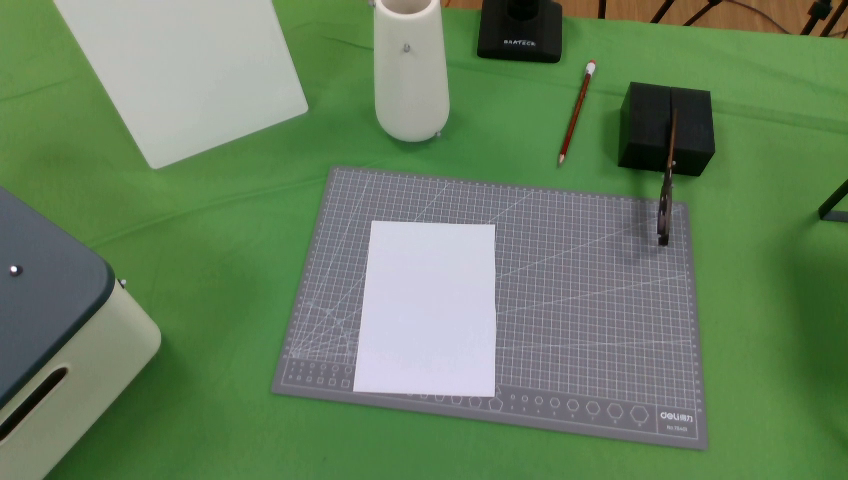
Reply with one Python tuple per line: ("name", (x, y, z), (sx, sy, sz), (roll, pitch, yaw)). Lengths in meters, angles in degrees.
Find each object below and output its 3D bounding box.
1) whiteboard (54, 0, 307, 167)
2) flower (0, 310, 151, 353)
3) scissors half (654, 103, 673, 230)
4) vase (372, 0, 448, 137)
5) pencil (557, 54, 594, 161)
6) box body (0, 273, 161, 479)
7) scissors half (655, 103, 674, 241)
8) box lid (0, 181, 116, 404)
("whiteboard", (-0.307, -0.285, 0.743), (0.217, 0.308, 0.142), (-24, 44, -12))
("flower", (-0.472, 0.106, 0.655), (0.361, 0.038, 0.044), (-3, 92, 5))
("scissors half", (0.283, -0.091, 0.708), (0.013, 0.040, 0.174), (5, 62, 24))
("vase", (-0.019, -0.217, 0.731), (0.098, 0.201, 0.097), (-1, 60, 1))
("pencil", (0.203, -0.182, 0.818), (0.012, 0.012, 0.193), (18, 64, 10))
("box body", (-0.484, 0.070, 0.595), (0.362, 0.161, 0.253), (30, 66, 15))
("scissors half", (0.292, -0.083, 0.725), (0.012, 0.040, 0.174), (4, 79, 29))
("box lid", (-0.486, 0.034, 0.531), (0.369, 0.015, 0.262), (30, 65, 15))
